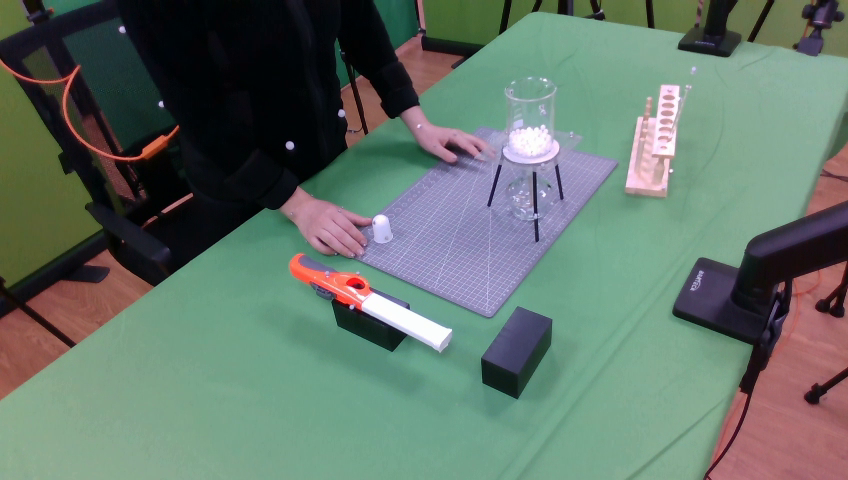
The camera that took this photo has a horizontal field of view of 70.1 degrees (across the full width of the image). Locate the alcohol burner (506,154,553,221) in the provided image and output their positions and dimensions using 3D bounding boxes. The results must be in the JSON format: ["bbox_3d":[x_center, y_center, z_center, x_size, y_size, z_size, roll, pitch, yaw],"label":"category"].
[{"bbox_3d":[0.171,-0.090,0.984,0.078,0.119,0.077,-5,42,5],"label":"alcohol burner"}]

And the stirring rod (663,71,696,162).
[{"bbox_3d":[0.411,-0.195,0.981,0.014,0.177,0.006,11,50,13],"label":"stirring rod"}]

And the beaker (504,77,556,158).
[{"bbox_3d":[0.160,-0.181,0.900,0.084,0.101,0.073,-32,46,-27],"label":"beaker"}]

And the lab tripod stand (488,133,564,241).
[{"bbox_3d":[0.168,-0.092,0.972,0.148,0.132,0.147,-5,41,5],"label":"lab tripod stand"}]

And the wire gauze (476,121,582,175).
[{"bbox_3d":[0.162,-0.142,0.929,0.120,0.011,0.125,19,49,32],"label":"wire gauze"}]

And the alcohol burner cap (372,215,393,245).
[{"bbox_3d":[-0.070,-0.019,0.990,0.034,0.048,0.033,-4,42,4],"label":"alcohol burner cap"}]

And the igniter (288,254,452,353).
[{"bbox_3d":[-0.083,0.079,0.818,0.274,0.025,0.057,23,46,27],"label":"igniter"}]

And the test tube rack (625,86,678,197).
[{"bbox_3d":[0.412,-0.184,1.088,0.066,0.085,0.242,9,43,18],"label":"test tube rack"}]
